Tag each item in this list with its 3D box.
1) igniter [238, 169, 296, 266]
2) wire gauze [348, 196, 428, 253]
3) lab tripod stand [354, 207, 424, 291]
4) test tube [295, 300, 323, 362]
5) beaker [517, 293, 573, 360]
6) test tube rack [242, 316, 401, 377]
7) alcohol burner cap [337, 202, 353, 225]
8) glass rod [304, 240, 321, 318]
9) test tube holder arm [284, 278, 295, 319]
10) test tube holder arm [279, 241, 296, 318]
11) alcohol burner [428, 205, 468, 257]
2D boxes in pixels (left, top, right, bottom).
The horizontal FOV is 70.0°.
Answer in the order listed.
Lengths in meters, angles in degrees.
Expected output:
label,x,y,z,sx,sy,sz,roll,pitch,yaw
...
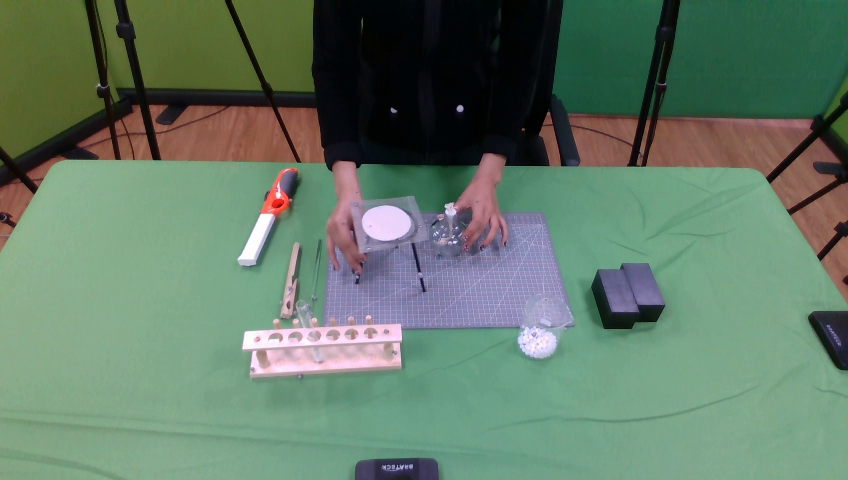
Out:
label,x,y,z,sx,sy,sz,roll,pitch,yaw
igniter,-0.313,-0.055,1.224,0.057,0.025,0.275,1,45,10
wire gauze,-0.064,-0.032,1.051,0.121,0.011,0.124,-7,48,-13
lab tripod stand,-0.056,0.017,1.097,0.148,0.132,0.147,4,45,-4
test tube,-0.176,0.143,0.935,0.017,0.151,0.017,-2,47,2
beaker,0.200,0.149,1.018,0.084,0.101,0.073,13,47,8
test tube rack,-0.160,0.166,0.983,0.242,0.085,0.066,-2,46,-6
alcohol burner cap,-0.161,-0.056,1.223,0.034,0.048,0.033,2,46,-2
glass rod,-0.207,0.068,1.128,0.008,0.008,0.198,2,43,-2
test tube holder arm,-0.242,0.103,1.085,0.010,0.015,0.087,26,38,-28
test tube holder arm,-0.249,0.069,1.113,0.013,0.015,0.177,26,38,-28
alcohol burner,0.047,-0.024,1.160,0.078,0.119,0.077,3,48,-3
